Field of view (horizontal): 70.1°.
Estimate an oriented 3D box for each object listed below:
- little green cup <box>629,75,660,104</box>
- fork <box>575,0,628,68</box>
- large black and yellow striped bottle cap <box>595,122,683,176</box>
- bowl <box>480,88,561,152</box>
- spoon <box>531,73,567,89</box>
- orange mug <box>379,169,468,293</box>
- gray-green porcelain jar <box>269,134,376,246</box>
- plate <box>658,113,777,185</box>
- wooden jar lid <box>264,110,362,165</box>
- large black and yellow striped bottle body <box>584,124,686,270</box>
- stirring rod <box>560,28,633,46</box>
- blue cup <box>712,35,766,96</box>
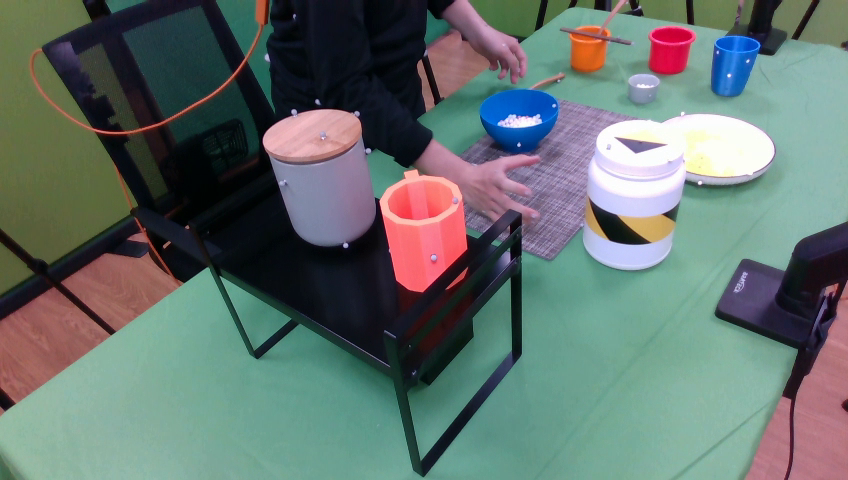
[{"bbox_3d":[0.457,-0.314,1.260,0.061,0.039,0.061,-4,40,4],"label":"little green cup"},{"bbox_3d":[0.413,-0.481,1.377,0.207,0.019,0.028,-57,43,12],"label":"fork"},{"bbox_3d":[0.293,-0.126,0.826,0.115,0.019,0.114,-3,40,3],"label":"large black and yellow striped bottle cap"},{"bbox_3d":[0.185,-0.222,1.160,0.151,0.077,0.150,-4,40,4],"label":"bowl"},{"bbox_3d":[0.250,-0.337,1.332,0.194,0.022,0.041,-32,32,-25],"label":"spoon"},{"bbox_3d":[-0.002,-0.019,0.665,0.083,0.101,0.125,-12,45,-4],"label":"orange mug"},{"bbox_3d":[-0.115,-0.064,0.715,0.106,0.127,0.105,-4,40,4],"label":"gray-green porcelain jar"},{"bbox_3d":[0.506,-0.158,1.073,0.209,0.038,0.208,-5,40,4],"label":"plate"},{"bbox_3d":[-0.122,-0.112,0.673,0.108,0.021,0.108,-4,37,4],"label":"wooden jar lid"},{"bbox_3d":[0.304,-0.063,0.880,0.131,0.185,0.130,-5,41,5],"label":"large black and yellow striped bottle body"},{"bbox_3d":[0.381,-0.453,1.345,0.174,0.006,0.014,26,52,33],"label":"stirring rod"},{"bbox_3d":[0.627,-0.350,1.227,0.092,0.100,0.092,-4,39,4],"label":"blue cup"}]
